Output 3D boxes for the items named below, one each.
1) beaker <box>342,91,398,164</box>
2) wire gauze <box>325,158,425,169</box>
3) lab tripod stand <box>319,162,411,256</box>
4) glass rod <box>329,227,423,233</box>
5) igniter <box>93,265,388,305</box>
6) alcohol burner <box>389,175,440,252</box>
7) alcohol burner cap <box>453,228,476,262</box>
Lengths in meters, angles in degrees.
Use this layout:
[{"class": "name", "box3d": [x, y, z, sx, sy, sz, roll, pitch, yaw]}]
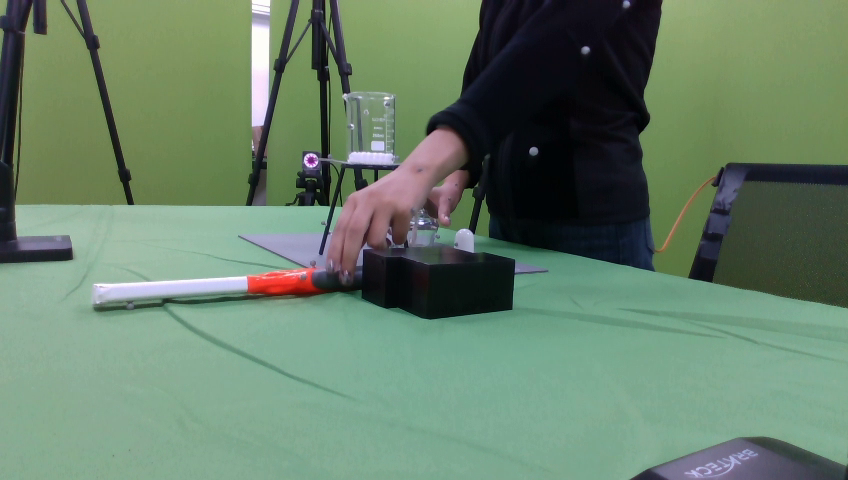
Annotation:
[{"class": "beaker", "box3d": [-0.079, -0.160, 0.867, 0.084, 0.100, 0.073, -5, 10, -35]}, {"class": "wire gauze", "box3d": [-0.080, -0.112, 0.869, 0.122, 0.011, 0.124, -6, 12, -35]}, {"class": "lab tripod stand", "box3d": [-0.081, -0.047, 0.879, 0.148, 0.131, 0.148, 2, 9, 0]}, {"class": "glass rod", "box3d": [-0.087, -0.019, 1.148, 0.201, 0.008, 0.008, -3, 8, -32]}, {"class": "igniter", "box3d": [-0.164, 0.042, 0.589, 0.278, 0.025, 0.057, -2, -6, -31]}, {"class": "alcohol burner", "box3d": [-0.014, -0.041, 0.932, 0.078, 0.119, 0.078, 1, 9, 0]}, {"class": "alcohol burner cap", "box3d": [0.058, 0.006, 0.872, 0.034, 0.048, 0.034, 2, 7, 0]}]
